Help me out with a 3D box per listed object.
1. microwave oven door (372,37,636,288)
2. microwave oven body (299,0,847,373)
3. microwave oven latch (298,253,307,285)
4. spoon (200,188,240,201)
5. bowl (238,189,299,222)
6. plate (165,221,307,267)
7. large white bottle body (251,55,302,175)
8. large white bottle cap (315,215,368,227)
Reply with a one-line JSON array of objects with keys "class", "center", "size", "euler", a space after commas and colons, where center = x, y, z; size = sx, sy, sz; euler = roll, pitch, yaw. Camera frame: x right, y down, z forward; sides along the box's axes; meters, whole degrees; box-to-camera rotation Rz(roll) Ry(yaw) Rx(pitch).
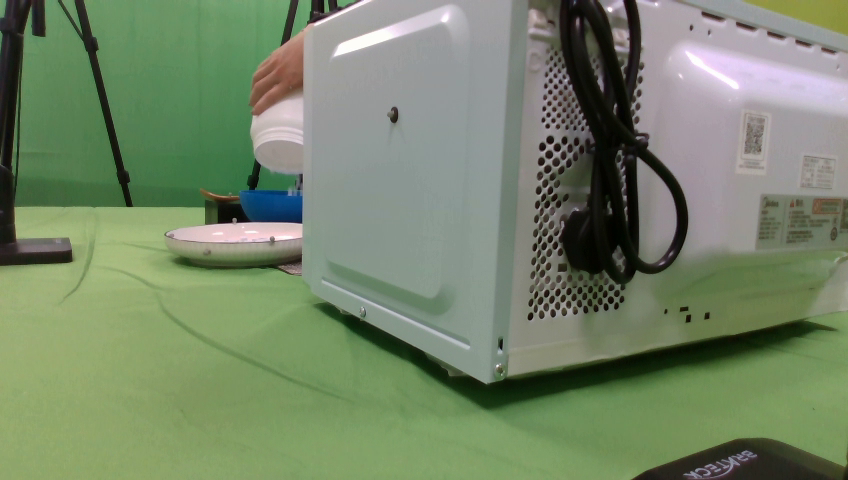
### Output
[{"class": "microwave oven door", "center": [0.110, -0.080, 0.686], "size": [0.358, 0.243, 0.039], "euler": [-2, 9, -33]}, {"class": "microwave oven body", "center": [0.151, -0.055, 0.542], "size": [0.444, 0.260, 0.324], "euler": [-2, 7, -33]}, {"class": "microwave oven latch", "center": [-0.081, 0.027, 0.582], "size": [0.079, 0.029, 0.030], "euler": [-1, 7, -32]}, {"class": "spoon", "center": [-0.338, -0.080, 1.190], "size": [0.194, 0.021, 0.041], "euler": [5, 3, -19]}, {"class": "bowl", "center": [-0.245, -0.046, 1.052], "size": [0.151, 0.077, 0.151], "euler": [3, 8, 0]}, {"class": "plate", "center": [-0.241, 0.004, 0.829], "size": [0.209, 0.038, 0.209], "euler": [0, 9, 0]}, {"class": "large white bottle body", "center": [-0.241, -0.223, 1.092], "size": [0.131, 0.184, 0.130], "euler": [-1, -26, 0]}, {"class": "large white bottle cap", "center": [-0.178, -0.041, 1.309], "size": [0.115, 0.018, 0.115], "euler": [2, 6, 0]}]
